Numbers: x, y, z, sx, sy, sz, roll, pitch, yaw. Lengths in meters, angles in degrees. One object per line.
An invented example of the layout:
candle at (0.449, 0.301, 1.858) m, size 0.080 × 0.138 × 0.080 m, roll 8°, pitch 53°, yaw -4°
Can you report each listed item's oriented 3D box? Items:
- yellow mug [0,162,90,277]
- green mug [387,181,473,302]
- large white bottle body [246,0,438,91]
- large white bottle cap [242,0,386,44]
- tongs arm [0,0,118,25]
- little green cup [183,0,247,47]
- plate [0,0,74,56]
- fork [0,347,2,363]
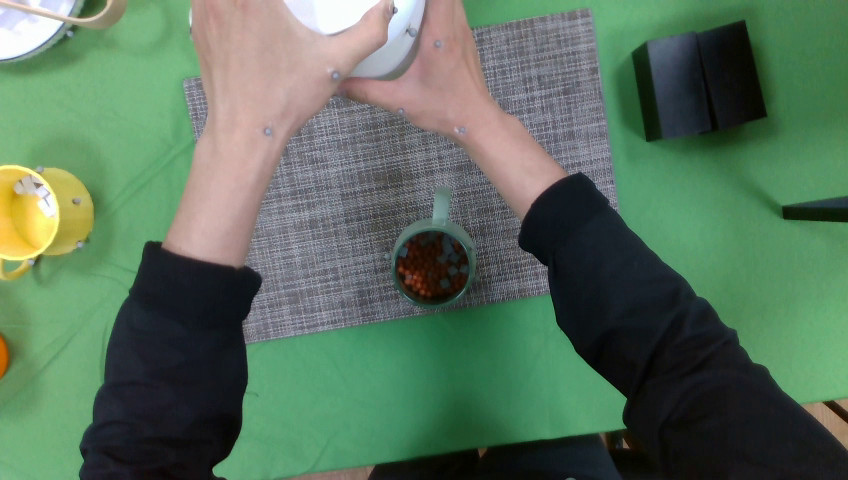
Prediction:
yellow mug at (-0.435, -0.019, 0.657) m, size 0.100 × 0.064 × 0.131 m, roll 23°, pitch 96°, yaw -1°
green mug at (0.008, 0.001, 0.628) m, size 0.092 × 0.105 × 0.125 m, roll 7°, pitch 95°, yaw 1°
large white bottle body at (-0.063, -0.197, 0.481) m, size 0.130 × 0.184 × 0.131 m, roll 1°, pitch 95°, yaw 8°
large white bottle cap at (-0.073, -0.189, 0.398) m, size 0.114 × 0.018 × 0.115 m, roll 1°, pitch 98°, yaw 9°
tongs arm at (-0.504, -0.284, 0.615) m, size 0.385 × 0.026 × 0.051 m, roll 19°, pitch 93°, yaw 1°
little green cup at (-0.220, -0.236, 0.646) m, size 0.061 × 0.038 × 0.061 m, roll 0°, pitch 97°, yaw 0°
plate at (-0.463, -0.299, 0.645) m, size 0.208 × 0.039 × 0.208 m, roll 0°, pitch 96°, yaw 1°
fork at (-0.567, 0.127, 0.632) m, size 0.209 × 0.018 × 0.028 m, roll 4°, pitch 93°, yaw -42°
